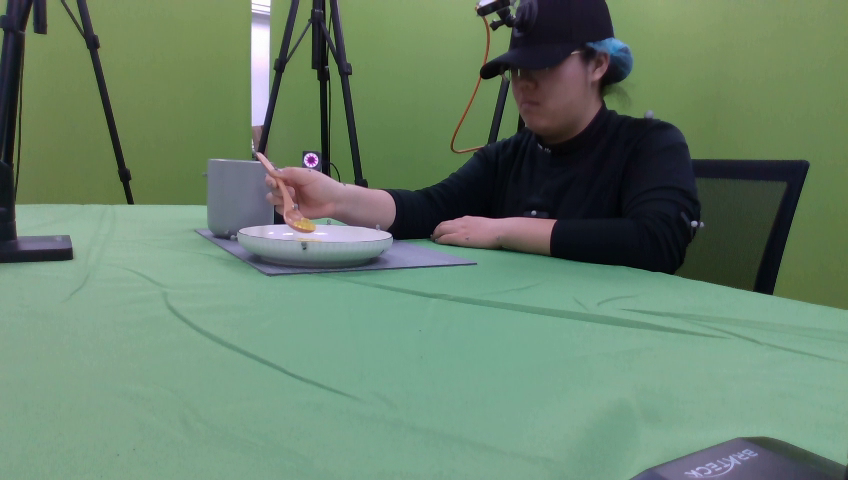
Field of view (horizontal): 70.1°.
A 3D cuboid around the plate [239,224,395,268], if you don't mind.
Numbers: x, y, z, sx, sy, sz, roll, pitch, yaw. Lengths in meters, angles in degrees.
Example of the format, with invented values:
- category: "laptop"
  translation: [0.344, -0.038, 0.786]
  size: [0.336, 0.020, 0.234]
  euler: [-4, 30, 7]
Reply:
- category: "plate"
  translation: [-0.144, 0.007, 0.823]
  size: [0.208, 0.039, 0.207]
  euler: [3, 7, 0]

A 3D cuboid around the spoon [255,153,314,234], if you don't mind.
- category: "spoon"
  translation: [-0.204, -0.070, 0.867]
  size: [0.042, 0.021, 0.193]
  euler: [8, 39, -44]

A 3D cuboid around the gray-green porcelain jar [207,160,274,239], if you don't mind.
- category: "gray-green porcelain jar"
  translation: [-0.304, -0.068, 1.003]
  size: [0.106, 0.126, 0.106]
  euler: [3, 7, 0]
